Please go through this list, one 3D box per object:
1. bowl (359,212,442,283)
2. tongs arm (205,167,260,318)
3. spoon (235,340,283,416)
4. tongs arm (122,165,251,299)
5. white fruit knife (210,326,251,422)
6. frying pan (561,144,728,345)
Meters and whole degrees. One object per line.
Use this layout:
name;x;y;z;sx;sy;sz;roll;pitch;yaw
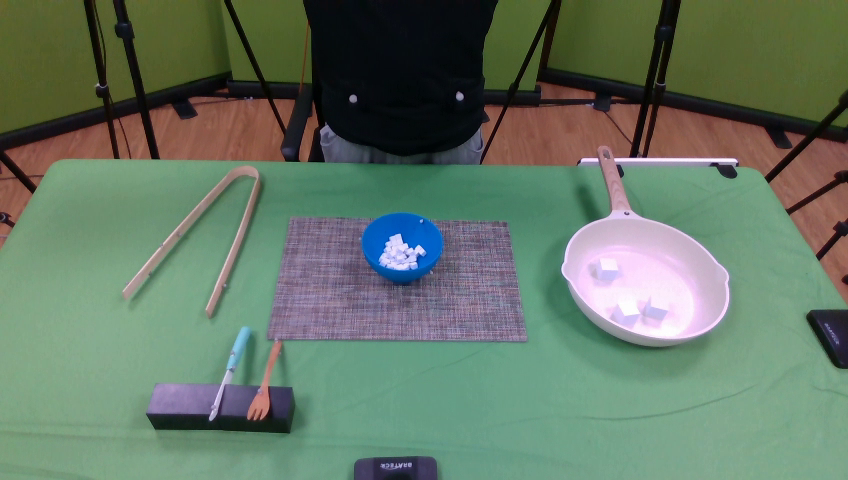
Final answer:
bowl;-0.044;0.026;1.125;0.151;0.077;0.150;2;46;-2
tongs arm;-0.367;-0.010;1.174;0.028;0.028;0.385;2;46;1
spoon;-0.244;0.207;0.932;0.042;0.022;0.193;28;25;-8
tongs arm;-0.447;-0.027;1.179;0.051;0.026;0.383;14;46;8
white fruit knife;-0.300;0.201;0.941;0.016;0.027;0.206;-2;32;1
frying pan;0.397;-0.008;1.179;0.307;0.103;0.485;2;55;-4
